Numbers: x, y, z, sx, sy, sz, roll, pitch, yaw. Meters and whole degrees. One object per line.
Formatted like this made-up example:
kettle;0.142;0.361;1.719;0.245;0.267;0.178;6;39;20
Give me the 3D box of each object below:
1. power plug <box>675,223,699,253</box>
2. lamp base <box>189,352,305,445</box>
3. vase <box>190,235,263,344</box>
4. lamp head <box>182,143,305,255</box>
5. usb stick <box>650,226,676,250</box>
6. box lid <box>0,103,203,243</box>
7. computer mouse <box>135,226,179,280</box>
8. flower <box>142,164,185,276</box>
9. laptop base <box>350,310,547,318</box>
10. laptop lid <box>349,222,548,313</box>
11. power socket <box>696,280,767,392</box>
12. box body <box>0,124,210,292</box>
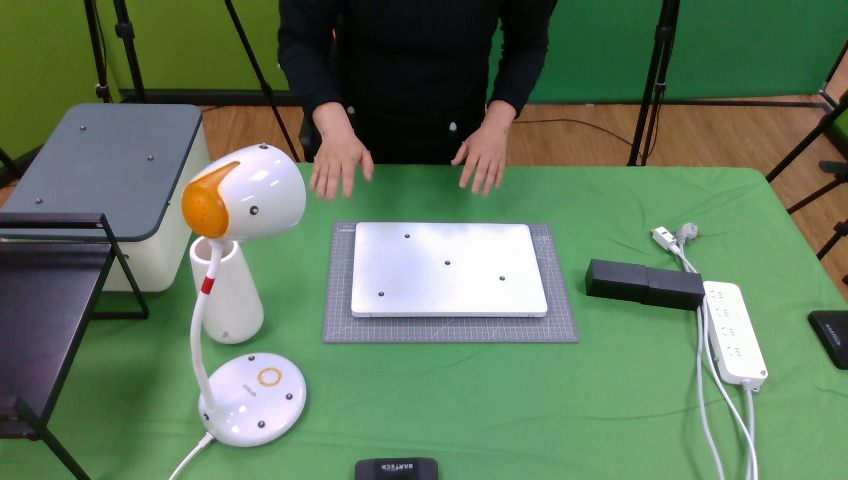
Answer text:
power plug;0.538;0.000;1.243;0.053;0.035;0.072;18;81;-16
lamp base;-0.268;0.197;0.876;0.160;0.181;0.179;26;52;20
vase;-0.317;0.081;0.971;0.098;0.201;0.097;3;47;-3
lamp head;-0.216;-0.044;0.697;0.112;0.113;0.123;23;31;17
usb stick;0.485;-0.008;1.238;0.021;0.027;0.059;-23;44;-13
box lid;-0.563;-0.132;1.079;0.263;0.015;0.369;1;46;-3
computer mouse;-0.493;0.020;1.118;0.063;0.041;0.116;1;54;-10
flower;-0.492;-0.055;1.173;0.044;0.038;0.359;-40;34;19
laptop base;0.041;0.056;1.149;0.355;0.023;0.234;0;43;-4
laptop lid;0.042;0.046;1.142;0.357;0.013;0.240;2;44;-3
power socket;0.543;0.160;1.077;0.072;0.033;0.225;6;46;2
box body;-0.567;-0.082;1.133;0.254;0.161;0.361;2;46;-3
